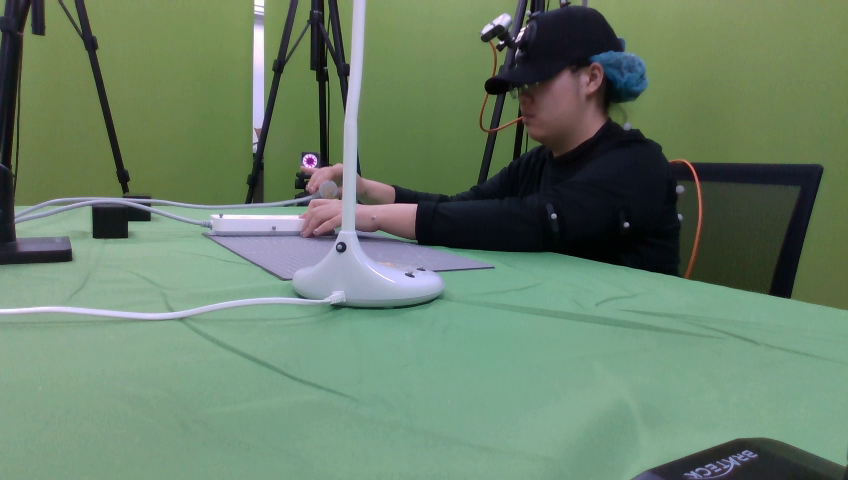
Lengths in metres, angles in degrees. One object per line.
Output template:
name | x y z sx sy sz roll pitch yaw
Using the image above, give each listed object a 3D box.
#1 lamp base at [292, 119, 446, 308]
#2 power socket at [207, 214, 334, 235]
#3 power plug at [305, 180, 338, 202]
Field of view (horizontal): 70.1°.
lamp base | -0.056 -0.030 0.616 0.160 0.180 0.179 4 10 8
power socket | -0.271 -0.029 1.085 0.228 0.032 0.072 -1 8 -28
power plug | -0.200 -0.087 1.187 0.035 0.072 0.052 40 10 -15
